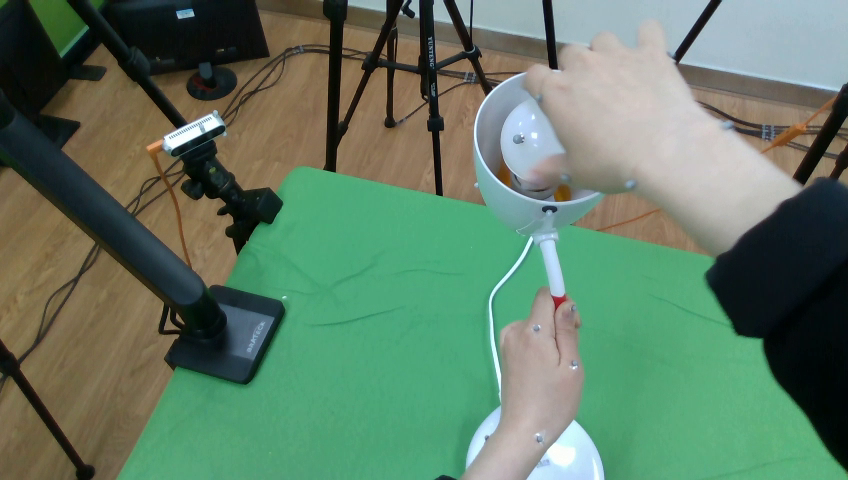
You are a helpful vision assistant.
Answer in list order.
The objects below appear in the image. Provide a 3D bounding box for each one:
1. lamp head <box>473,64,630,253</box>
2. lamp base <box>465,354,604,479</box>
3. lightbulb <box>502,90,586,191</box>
[{"bbox_3d":[0.091,-0.054,0.475,0.112,0.124,0.111,0,63,1],"label":"lamp head"},{"bbox_3d":[0.122,0.209,0.648,0.161,0.182,0.177,-22,57,-14],"label":"lamp base"},{"bbox_3d":[0.087,-0.067,0.454,0.059,0.108,0.059,-1,70,4],"label":"lightbulb"}]
